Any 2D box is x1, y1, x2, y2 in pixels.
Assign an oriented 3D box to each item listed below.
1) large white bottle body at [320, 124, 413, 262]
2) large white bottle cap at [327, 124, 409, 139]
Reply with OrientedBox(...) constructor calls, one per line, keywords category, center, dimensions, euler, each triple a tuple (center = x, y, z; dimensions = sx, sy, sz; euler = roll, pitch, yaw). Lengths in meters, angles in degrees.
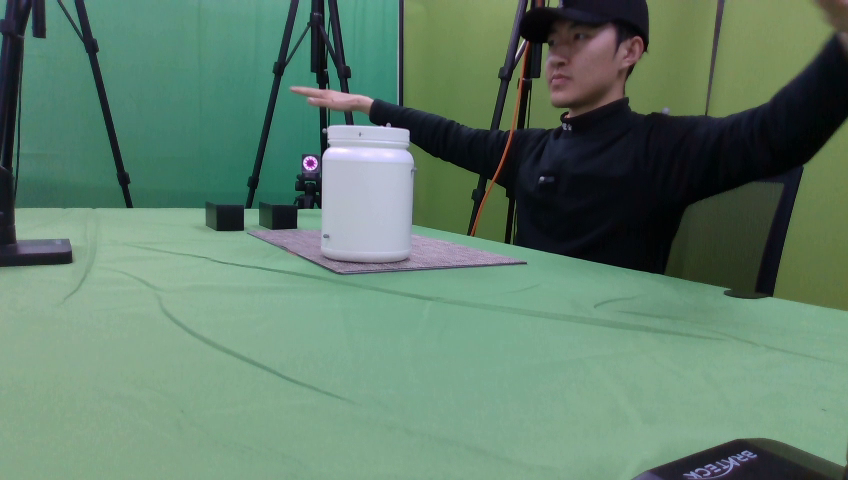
OrientedBox(category="large white bottle body", center=(-0.081, -0.069, 0.864), dimensions=(0.131, 0.184, 0.130), euler=(2, 7, 0))
OrientedBox(category="large white bottle cap", center=(-0.078, -0.151, 0.852), dimensions=(0.115, 0.018, 0.115), euler=(1, 8, 0))
